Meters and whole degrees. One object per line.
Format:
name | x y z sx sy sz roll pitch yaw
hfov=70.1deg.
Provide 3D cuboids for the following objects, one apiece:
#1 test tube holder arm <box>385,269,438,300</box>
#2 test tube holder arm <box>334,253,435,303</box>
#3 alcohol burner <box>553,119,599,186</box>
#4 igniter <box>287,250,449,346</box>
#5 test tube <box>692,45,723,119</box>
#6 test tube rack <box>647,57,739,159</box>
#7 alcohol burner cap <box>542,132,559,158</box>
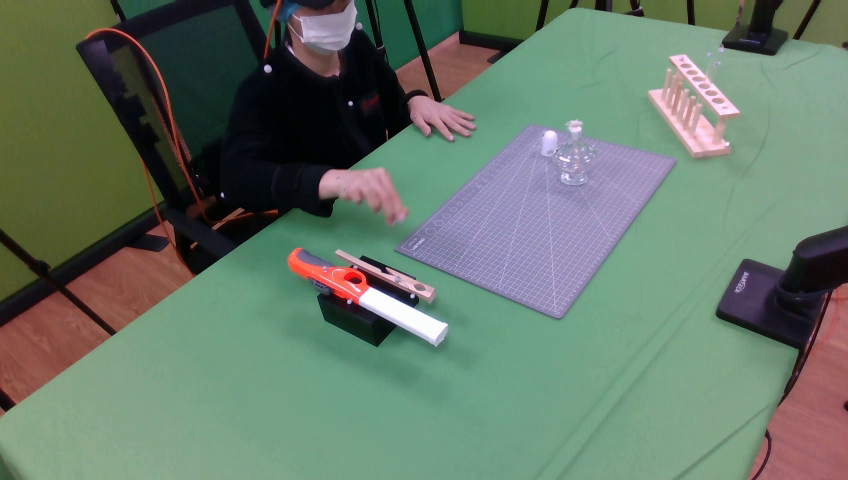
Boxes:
test tube holder arm | -0.020 0.061 0.834 0.087 0.015 0.010 20 54 30
test tube holder arm | -0.060 0.051 0.853 0.177 0.015 0.013 19 53 29
alcohol burner | 0.261 -0.153 1.042 0.078 0.119 0.077 -6 40 6
igniter | -0.087 0.073 0.825 0.274 0.025 0.057 23 48 28
test tube | 0.517 -0.285 1.106 0.017 0.151 0.017 -2 46 3
test tube rack | 0.504 -0.257 1.153 0.067 0.085 0.241 -8 40 1
alcohol burner cap | 0.237 -0.180 1.134 0.034 0.048 0.033 -5 41 5
